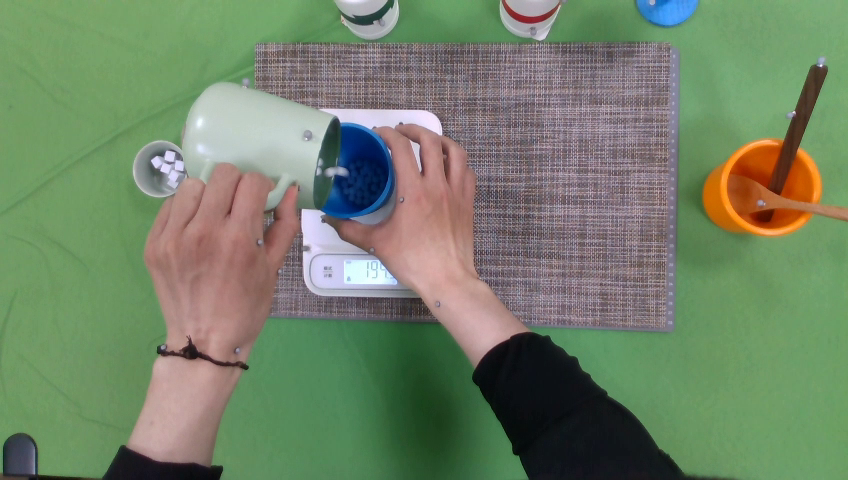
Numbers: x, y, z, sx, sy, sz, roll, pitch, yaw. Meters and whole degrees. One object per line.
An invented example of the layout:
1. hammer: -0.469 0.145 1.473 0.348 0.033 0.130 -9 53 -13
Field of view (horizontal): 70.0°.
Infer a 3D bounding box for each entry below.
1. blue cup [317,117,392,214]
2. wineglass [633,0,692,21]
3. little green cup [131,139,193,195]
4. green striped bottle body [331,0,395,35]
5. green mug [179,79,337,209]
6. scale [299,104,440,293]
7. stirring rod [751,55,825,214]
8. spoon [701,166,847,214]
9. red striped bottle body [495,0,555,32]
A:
1. blue cup: -0.068 -0.065 0.580 0.092 0.100 0.092 0 90 4
2. wineglass: 0.245 -0.268 0.558 0.073 0.172 0.073 0 88 5
3. little green cup: -0.280 -0.077 0.661 0.061 0.038 0.061 0 88 3
4. green striped bottle body: -0.067 -0.257 0.608 0.063 0.119 0.063 0 88 5
5. green mug: -0.134 -0.066 0.477 0.105 0.124 0.093 12 129 1
6. scale: -0.058 -0.044 0.643 0.148 0.031 0.200 0 89 5
7. stirring rod: 0.333 -0.089 0.560 0.014 0.178 0.006 11 49 19
8. spoon: 0.351 -0.036 0.558 0.022 0.192 0.041 9 98 -38
9. red striped bottle body: 0.103 -0.256 0.596 0.063 0.120 0.063 0 88 4
